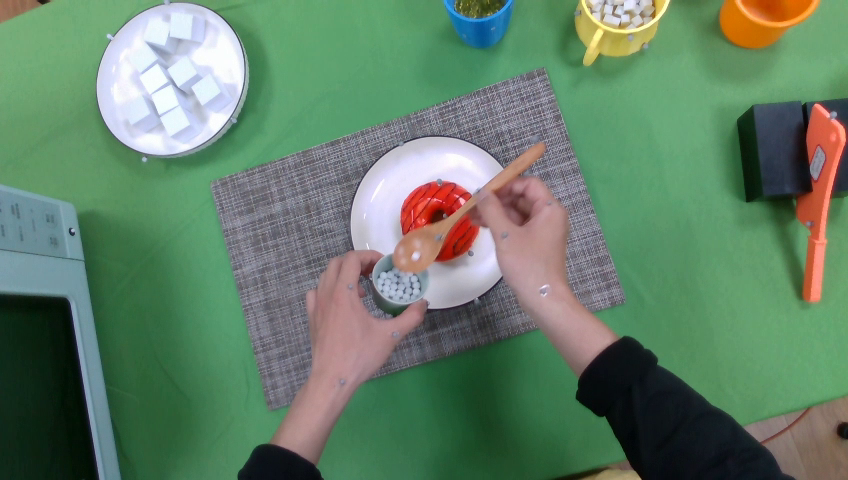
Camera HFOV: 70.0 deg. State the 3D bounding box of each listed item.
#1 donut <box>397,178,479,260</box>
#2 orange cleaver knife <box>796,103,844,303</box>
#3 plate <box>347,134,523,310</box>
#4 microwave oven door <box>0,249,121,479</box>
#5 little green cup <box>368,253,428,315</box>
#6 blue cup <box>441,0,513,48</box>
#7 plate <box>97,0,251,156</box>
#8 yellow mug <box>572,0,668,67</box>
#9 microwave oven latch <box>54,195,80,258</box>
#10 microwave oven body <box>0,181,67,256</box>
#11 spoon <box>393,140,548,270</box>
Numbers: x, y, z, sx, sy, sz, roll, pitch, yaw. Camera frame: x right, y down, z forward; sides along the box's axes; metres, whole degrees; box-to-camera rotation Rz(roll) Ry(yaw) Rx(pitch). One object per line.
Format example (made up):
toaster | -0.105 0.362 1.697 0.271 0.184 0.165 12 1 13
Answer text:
donut | 0.016 -0.024 0.711 0.099 0.048 0.099 -1 85 9
orange cleaver knife | 0.416 -0.036 0.649 0.012 0.077 0.212 -3 113 10
plate | 0.013 -0.021 0.722 0.209 0.038 0.208 -1 83 8
microwave oven door | -0.429 0.183 0.644 0.039 0.245 0.354 -15 82 6
little green cup | -0.029 0.048 0.637 0.062 0.039 0.061 6 56 -9
blue cup | 0.065 -0.275 0.715 0.092 0.100 0.092 -1 85 7
plate | -0.322 -0.208 0.794 0.207 0.039 0.207 -1 84 8
yellow mug | 0.220 -0.261 0.709 0.099 0.064 0.131 31 90 10
microwave oven latch | -0.464 -0.016 0.774 0.030 0.029 0.079 -13 83 6
microwave oven body | -0.579 0.180 0.671 0.326 0.261 0.440 -15 82 6
spoon | 0.041 -0.032 0.583 0.194 0.022 0.041 -39 76 28
